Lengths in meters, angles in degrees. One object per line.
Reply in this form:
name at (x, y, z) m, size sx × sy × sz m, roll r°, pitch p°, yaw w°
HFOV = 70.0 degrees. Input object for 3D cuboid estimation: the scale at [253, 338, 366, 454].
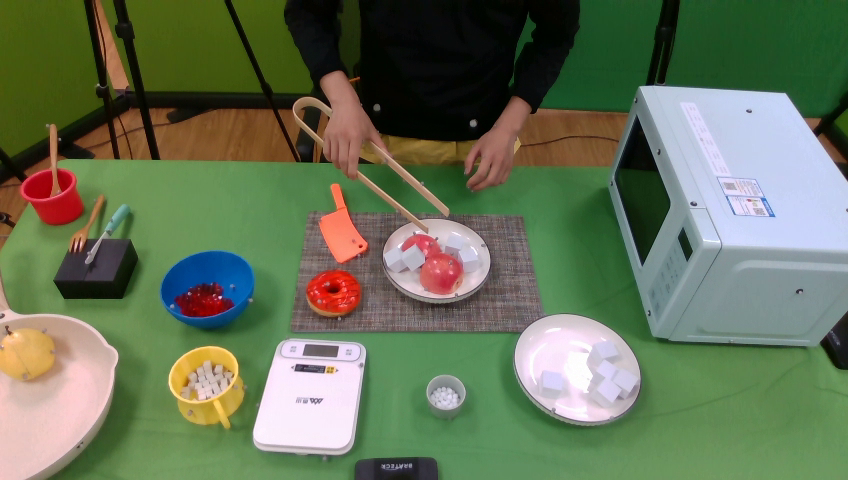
scale at (-0.175, 0.236, 0.951) m, size 0.149 × 0.032 × 0.199 m, roll 4°, pitch 45°, yaw -1°

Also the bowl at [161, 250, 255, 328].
bowl at (-0.362, 0.098, 1.039) m, size 0.151 × 0.077 × 0.150 m, roll 2°, pitch 45°, yaw -2°

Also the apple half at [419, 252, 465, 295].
apple half at (0.035, 0.055, 1.109) m, size 0.074 × 0.053 × 0.081 m, roll 37°, pitch 55°, yaw 24°

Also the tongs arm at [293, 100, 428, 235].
tongs arm at (-0.127, -0.140, 1.143) m, size 0.028 × 0.028 × 0.386 m, roll -42°, pitch 71°, yaw -15°

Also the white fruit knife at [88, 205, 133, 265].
white fruit knife at (-0.584, -0.013, 1.129) m, size 0.016 × 0.027 × 0.206 m, roll 0°, pitch 32°, yaw -5°

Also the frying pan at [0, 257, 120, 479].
frying pan at (-0.647, 0.164, 0.936) m, size 0.307 × 0.103 × 0.485 m, roll -19°, pitch 58°, yaw -22°

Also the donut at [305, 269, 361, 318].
donut at (-0.160, 0.094, 1.075) m, size 0.099 × 0.048 × 0.098 m, roll 4°, pitch 45°, yaw -3°

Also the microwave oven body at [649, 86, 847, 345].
microwave oven body at (0.567, -0.053, 1.118) m, size 0.326 × 0.261 × 0.439 m, roll 2°, pitch 45°, yaw -1°

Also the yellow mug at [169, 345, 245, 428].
yellow mug at (-0.322, 0.230, 0.922) m, size 0.100 × 0.064 × 0.130 m, roll -24°, pitch 53°, yaw -25°

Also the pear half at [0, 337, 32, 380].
pear half at (-0.631, 0.184, 0.921) m, size 0.070 × 0.088 × 0.031 m, roll 29°, pitch 49°, yaw 19°

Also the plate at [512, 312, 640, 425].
plate at (0.246, 0.213, 0.999) m, size 0.208 × 0.039 × 0.206 m, roll 2°, pitch 46°, yaw -2°

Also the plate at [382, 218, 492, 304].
plate at (0.024, 0.042, 1.143) m, size 0.209 × 0.038 × 0.208 m, roll 2°, pitch 46°, yaw -2°

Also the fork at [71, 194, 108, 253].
fork at (-0.634, -0.036, 1.158) m, size 0.028 × 0.019 × 0.206 m, roll -9°, pitch 32°, yaw -7°

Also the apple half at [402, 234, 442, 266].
apple half at (-0.004, 0.014, 1.159) m, size 0.081 × 0.033 × 0.081 m, roll 4°, pitch 44°, yaw -4°

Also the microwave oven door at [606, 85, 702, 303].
microwave oven door at (0.423, -0.094, 1.140) m, size 0.039 × 0.245 × 0.353 m, roll 2°, pitch 46°, yaw -1°

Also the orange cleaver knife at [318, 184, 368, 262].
orange cleaver knife at (-0.173, -0.037, 1.219) m, size 0.077 × 0.012 × 0.210 m, roll -16°, pitch 50°, yaw -12°

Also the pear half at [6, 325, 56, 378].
pear half at (-0.608, 0.158, 0.935) m, size 0.076 × 0.110 × 0.056 m, roll 31°, pitch 51°, yaw 20°

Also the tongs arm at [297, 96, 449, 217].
tongs arm at (-0.104, -0.161, 1.155) m, size 0.051 × 0.026 × 0.383 m, roll -40°, pitch 70°, yaw -18°

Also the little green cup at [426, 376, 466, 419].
little green cup at (0.033, 0.248, 0.950) m, size 0.061 × 0.039 × 0.061 m, roll 2°, pitch 46°, yaw -2°

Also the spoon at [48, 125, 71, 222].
spoon at (-0.718, -0.131, 1.188) m, size 0.041 × 0.021 × 0.193 m, roll -3°, pitch 90°, yaw -6°

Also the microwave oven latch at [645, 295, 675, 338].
microwave oven latch at (0.412, 0.134, 1.061) m, size 0.030 × 0.029 × 0.078 m, roll 3°, pitch 45°, yaw 0°
